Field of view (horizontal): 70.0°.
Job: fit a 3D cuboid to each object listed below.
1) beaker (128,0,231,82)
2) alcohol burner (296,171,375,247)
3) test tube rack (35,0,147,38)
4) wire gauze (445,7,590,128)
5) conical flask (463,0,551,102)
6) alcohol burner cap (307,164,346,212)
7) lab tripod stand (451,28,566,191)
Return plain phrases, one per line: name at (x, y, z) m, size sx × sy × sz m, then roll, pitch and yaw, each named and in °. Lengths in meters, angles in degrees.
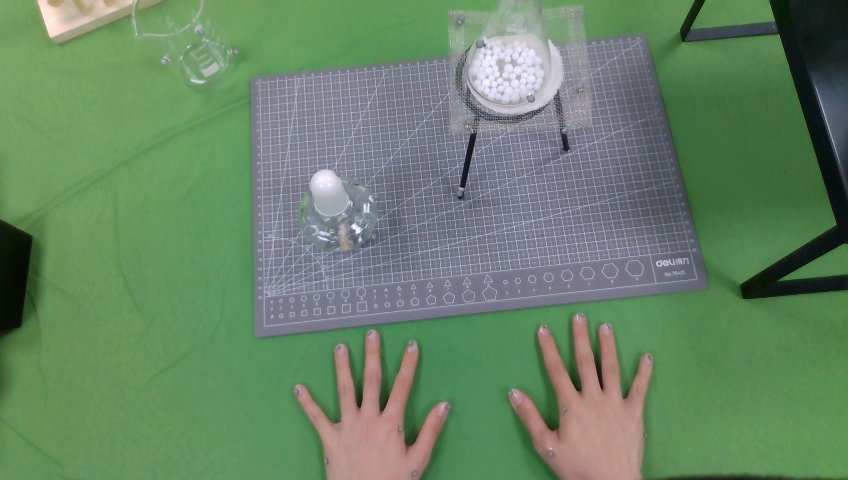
beaker at (-0.260, -0.224, 0.653) m, size 0.073 × 0.101 × 0.084 m, roll 40°, pitch 78°, yaw 14°
alcohol burner at (-0.087, -0.036, 0.577) m, size 0.078 × 0.120 × 0.077 m, roll 0°, pitch 71°, yaw 1°
test tube rack at (-0.346, -0.330, 0.698) m, size 0.242 × 0.085 × 0.066 m, roll -25°, pitch 73°, yaw -6°
wire gauze at (0.079, -0.154, 0.528) m, size 0.121 × 0.011 × 0.124 m, roll 0°, pitch 70°, yaw 0°
conical flask at (0.069, -0.168, 0.470) m, size 0.075 × 0.122 × 0.075 m, roll -1°, pitch 72°, yaw 2°
alcohol burner cap at (-0.089, -0.050, 0.543) m, size 0.034 × 0.048 × 0.033 m, roll 0°, pitch 66°, yaw 0°
lab tripod stand at (0.076, -0.129, 0.589) m, size 0.148 × 0.132 × 0.147 m, roll 0°, pitch 71°, yaw 1°
